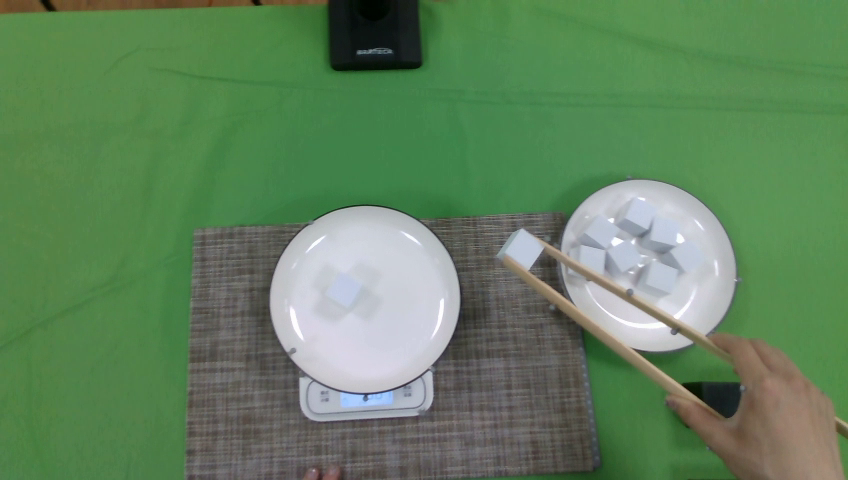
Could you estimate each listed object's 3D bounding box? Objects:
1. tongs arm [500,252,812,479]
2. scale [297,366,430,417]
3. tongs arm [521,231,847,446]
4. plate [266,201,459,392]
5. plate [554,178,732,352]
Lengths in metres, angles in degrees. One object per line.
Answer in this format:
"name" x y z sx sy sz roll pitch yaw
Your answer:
"tongs arm" 0.219 0.121 0.532 0.384 0.028 0.028 37 70 25
"scale" -0.071 0.096 0.691 0.149 0.032 0.200 -2 76 -3
"tongs arm" 0.235 0.104 0.537 0.382 0.027 0.050 32 71 23
"plate" -0.066 0.060 0.666 0.209 0.038 0.208 1 76 -2
"plate" 0.255 0.030 0.720 0.208 0.039 0.206 1 76 -2
